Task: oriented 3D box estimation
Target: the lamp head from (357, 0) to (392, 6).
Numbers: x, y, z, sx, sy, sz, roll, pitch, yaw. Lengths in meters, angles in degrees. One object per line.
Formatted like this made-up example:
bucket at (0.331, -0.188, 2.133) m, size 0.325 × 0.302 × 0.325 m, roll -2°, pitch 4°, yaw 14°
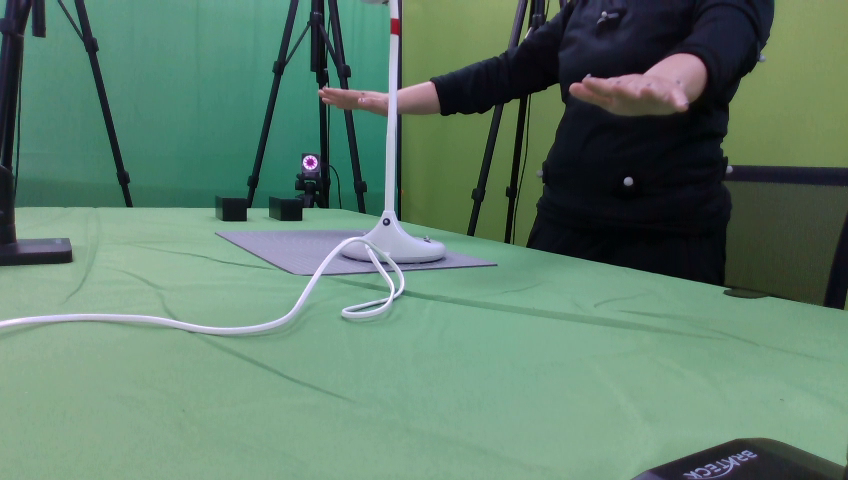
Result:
lamp head at (-0.056, -0.383, 0.819) m, size 0.113 × 0.112 × 0.122 m, roll 0°, pitch 13°, yaw -22°

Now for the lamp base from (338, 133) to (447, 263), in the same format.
lamp base at (-0.043, -0.062, 0.868) m, size 0.161 × 0.180 × 0.179 m, roll 2°, pitch 10°, yaw -3°
